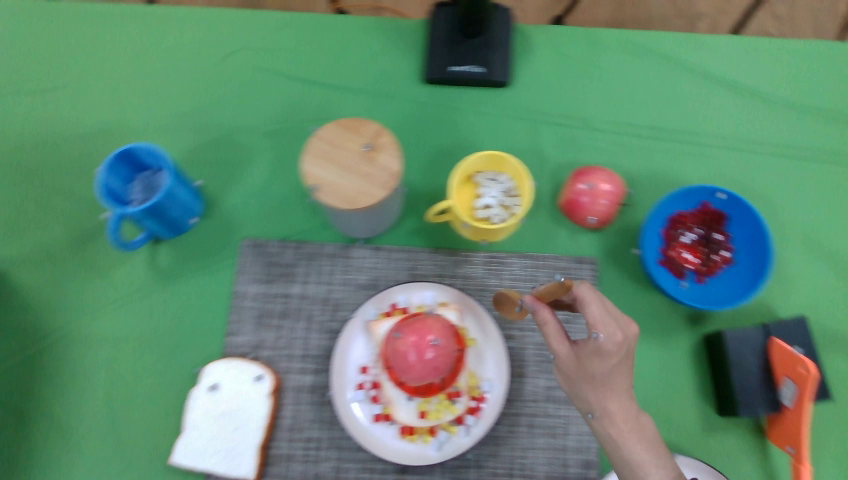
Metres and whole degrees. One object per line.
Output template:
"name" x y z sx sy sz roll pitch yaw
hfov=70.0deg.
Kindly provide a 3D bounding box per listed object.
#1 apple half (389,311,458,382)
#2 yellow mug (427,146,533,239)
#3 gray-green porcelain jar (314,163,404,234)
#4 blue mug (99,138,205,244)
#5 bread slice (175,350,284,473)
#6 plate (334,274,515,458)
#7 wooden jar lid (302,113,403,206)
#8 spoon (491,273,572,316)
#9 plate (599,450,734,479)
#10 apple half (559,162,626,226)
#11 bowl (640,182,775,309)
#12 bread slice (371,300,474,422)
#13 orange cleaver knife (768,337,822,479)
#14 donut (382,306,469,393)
"apple half" 0.000 0.112 0.650 0.081 0.033 0.081 -1 71 5
"yellow mug" 0.066 -0.052 0.748 0.131 0.064 0.099 -19 77 -4
"gray-green porcelain jar" -0.076 -0.069 0.720 0.106 0.127 0.105 0 75 -1
"blue mug" -0.328 -0.048 0.721 0.082 0.106 0.116 24 76 6
"bread slice" -0.222 0.193 0.703 0.105 0.019 0.131 11 77 1
"plate" 0.000 0.145 0.707 0.208 0.039 0.206 0 76 -1
"wooden jar lid" -0.077 -0.086 0.658 0.108 0.021 0.108 1 73 -3
"spoon" 0.098 0.052 0.562 0.041 0.194 0.021 39 79 1
"plate" 0.268 0.338 0.665 0.209 0.038 0.208 0 75 0
"apple half" 0.214 -0.064 0.760 0.074 0.053 0.080 25 77 8
"bowl" 0.326 0.014 0.728 0.151 0.077 0.150 0 76 0
"bread slice" 0.005 0.143 0.709 0.107 0.018 0.133 -14 78 -4
"orange cleaver knife" 0.412 0.215 0.676 0.012 0.077 0.211 -7 97 -9
"donut" 0.002 0.123 0.684 0.099 0.048 0.098 0 76 0
